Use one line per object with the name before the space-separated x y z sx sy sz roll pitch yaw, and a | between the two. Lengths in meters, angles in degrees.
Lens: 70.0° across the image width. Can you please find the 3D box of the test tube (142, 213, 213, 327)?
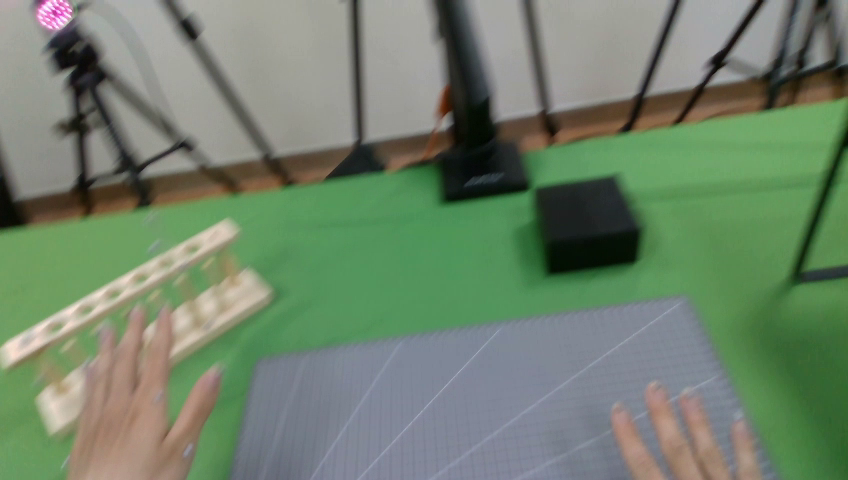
test tube | -0.254 0.034 0.627 0.017 0.152 0.017 -7 38 6

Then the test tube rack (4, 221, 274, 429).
test tube rack | -0.292 0.083 0.648 0.242 0.086 0.066 -34 45 -26
